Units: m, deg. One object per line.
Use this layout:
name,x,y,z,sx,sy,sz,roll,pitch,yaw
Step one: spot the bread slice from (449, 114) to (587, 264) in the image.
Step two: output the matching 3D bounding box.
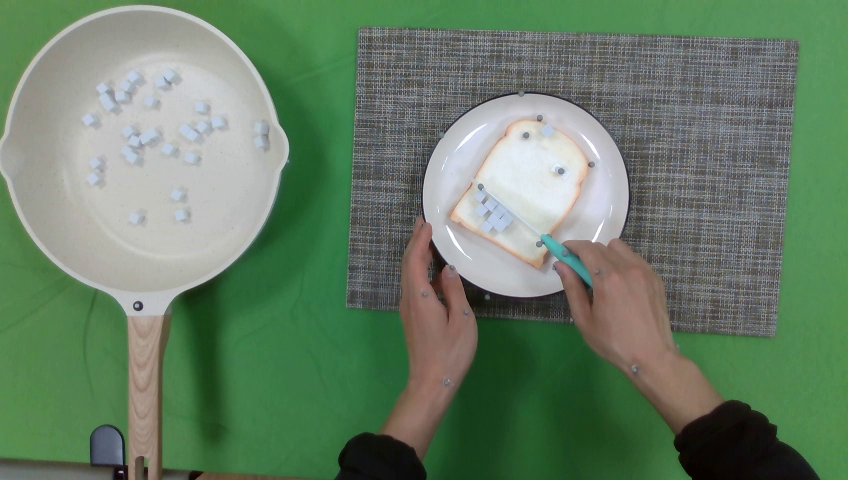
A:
bread slice,0.100,-0.059,0.621,0.107,0.018,0.134,26,96,2

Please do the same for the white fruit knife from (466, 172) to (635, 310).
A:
white fruit knife,0.119,-0.002,0.589,0.206,0.027,0.016,40,89,13

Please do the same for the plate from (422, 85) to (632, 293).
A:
plate,0.103,-0.050,0.620,0.207,0.039,0.207,0,93,5

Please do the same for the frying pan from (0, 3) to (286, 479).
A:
frying pan,-0.284,0.013,0.626,0.306,0.103,0.486,-1,85,6
